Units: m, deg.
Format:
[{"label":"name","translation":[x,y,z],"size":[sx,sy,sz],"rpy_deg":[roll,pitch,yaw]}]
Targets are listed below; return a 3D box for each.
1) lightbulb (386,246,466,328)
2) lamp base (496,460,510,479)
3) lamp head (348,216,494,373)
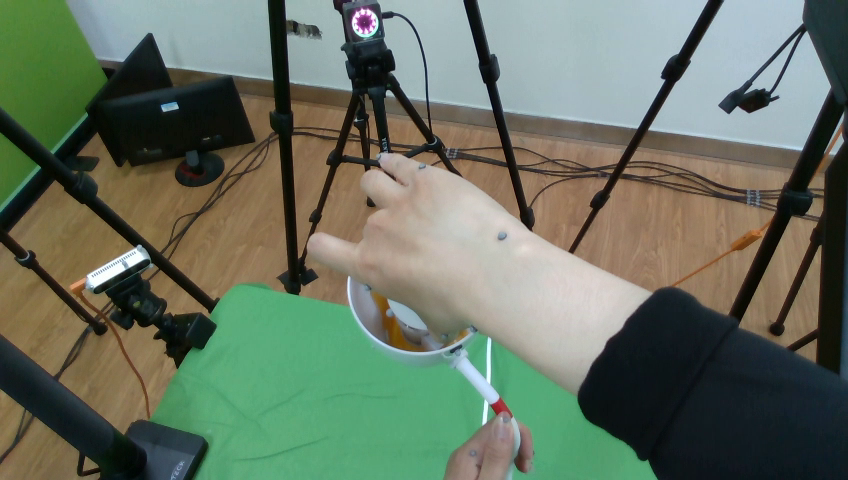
[{"label":"lightbulb","translation":[0.000,0.044,0.467],"size":[0.059,0.108,0.059],"rpy_deg":[2,68,-3]},{"label":"lamp base","translation":[0.099,0.320,0.642],"size":[0.161,0.182,0.177],"rpy_deg":[-21,50,-13]},{"label":"lamp head","translation":[0.001,0.058,0.503],"size":[0.112,0.124,0.111],"rpy_deg":[-2,59,3]}]
